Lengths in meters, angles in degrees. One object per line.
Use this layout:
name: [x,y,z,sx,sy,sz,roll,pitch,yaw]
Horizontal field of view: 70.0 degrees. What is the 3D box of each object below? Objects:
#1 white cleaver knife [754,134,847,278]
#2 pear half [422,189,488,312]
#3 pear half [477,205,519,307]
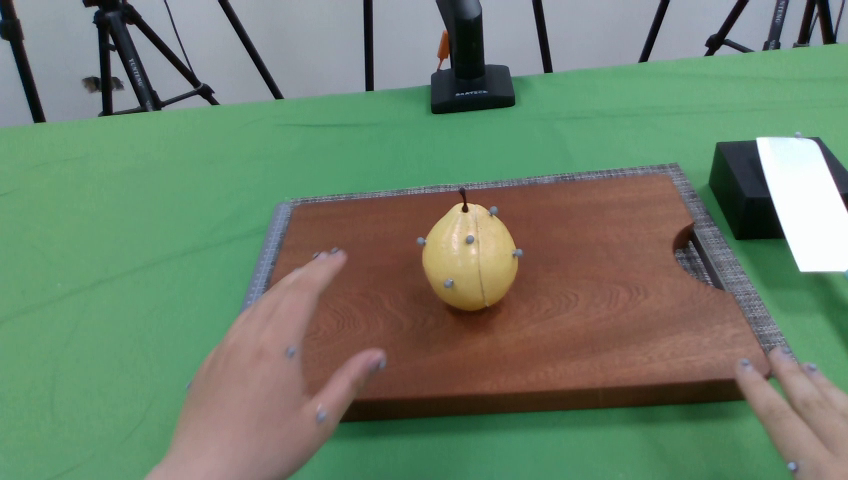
white cleaver knife: [0.341,0.008,0.508,0.066,0.022,0.283,-4,49,11]
pear half: [0.025,0.005,0.492,0.056,0.111,0.075,-5,34,5]
pear half: [0.061,0.011,0.493,0.031,0.089,0.070,-5,31,5]
